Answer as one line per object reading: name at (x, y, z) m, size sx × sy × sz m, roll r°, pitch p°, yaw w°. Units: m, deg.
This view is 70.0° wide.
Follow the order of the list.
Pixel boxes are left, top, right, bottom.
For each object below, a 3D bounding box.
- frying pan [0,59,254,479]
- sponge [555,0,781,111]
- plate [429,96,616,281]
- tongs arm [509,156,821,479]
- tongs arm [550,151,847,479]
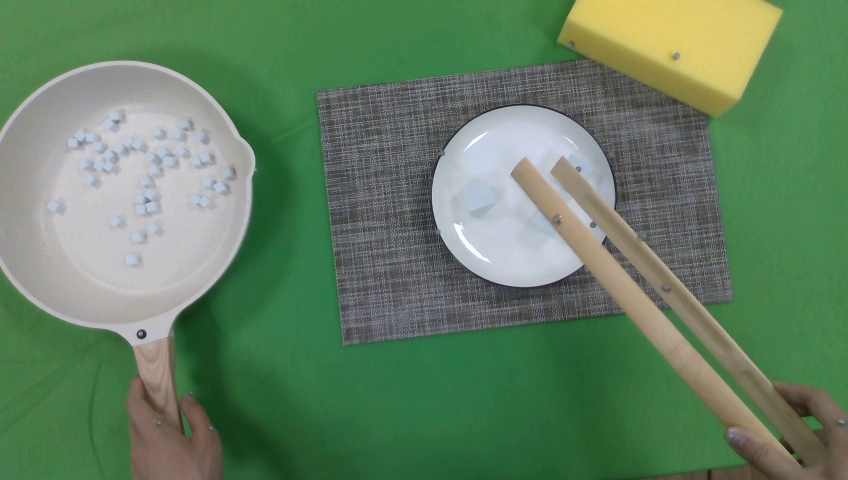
frying pan at (-0.304, 0.048, 0.658) m, size 0.307 × 0.103 × 0.485 m, roll -15°, pitch 78°, yaw 1°
sponge at (0.271, -0.248, 0.687) m, size 0.206 × 0.061 × 0.118 m, roll 26°, pitch 85°, yaw 4°
plate at (0.109, -0.057, 0.687) m, size 0.208 × 0.039 × 0.207 m, roll 0°, pitch 86°, yaw 1°
tongs arm at (0.201, 0.068, 0.516) m, size 0.384 × 0.028 × 0.028 m, roll 51°, pitch 127°, yaw 20°
tongs arm at (0.230, 0.061, 0.544) m, size 0.381 × 0.051 × 0.026 m, roll 52°, pitch 131°, yaw 21°
